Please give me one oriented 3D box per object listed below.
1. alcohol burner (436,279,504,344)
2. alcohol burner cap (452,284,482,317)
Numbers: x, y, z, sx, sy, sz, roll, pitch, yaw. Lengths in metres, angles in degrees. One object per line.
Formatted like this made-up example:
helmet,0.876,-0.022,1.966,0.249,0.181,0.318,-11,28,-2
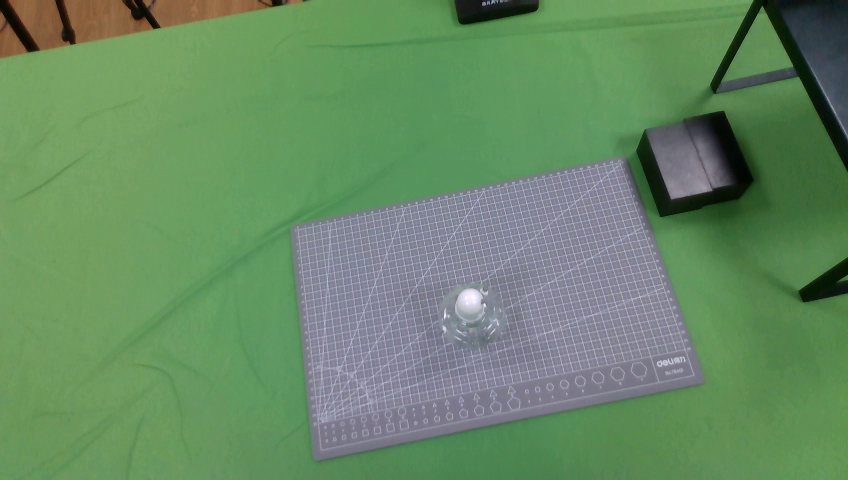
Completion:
alcohol burner,0.051,0.076,0.677,0.078,0.120,0.077,-2,70,6
alcohol burner cap,0.047,0.062,0.643,0.034,0.048,0.033,0,72,1
